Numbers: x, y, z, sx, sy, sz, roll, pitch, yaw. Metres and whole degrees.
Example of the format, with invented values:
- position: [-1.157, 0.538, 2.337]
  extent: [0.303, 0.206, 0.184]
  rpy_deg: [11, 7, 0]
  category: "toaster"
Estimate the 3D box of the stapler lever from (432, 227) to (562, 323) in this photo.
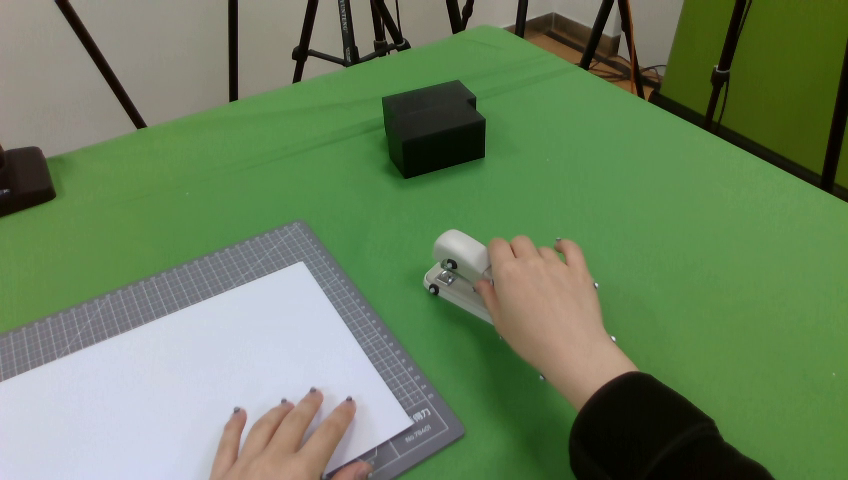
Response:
- position: [0.058, 0.026, 0.503]
  extent: [0.117, 0.040, 0.027]
  rpy_deg: [26, 51, 28]
  category: "stapler lever"

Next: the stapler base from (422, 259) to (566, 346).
- position: [0.057, 0.043, 0.520]
  extent: [0.129, 0.024, 0.041]
  rpy_deg: [27, 51, 27]
  category: "stapler base"
